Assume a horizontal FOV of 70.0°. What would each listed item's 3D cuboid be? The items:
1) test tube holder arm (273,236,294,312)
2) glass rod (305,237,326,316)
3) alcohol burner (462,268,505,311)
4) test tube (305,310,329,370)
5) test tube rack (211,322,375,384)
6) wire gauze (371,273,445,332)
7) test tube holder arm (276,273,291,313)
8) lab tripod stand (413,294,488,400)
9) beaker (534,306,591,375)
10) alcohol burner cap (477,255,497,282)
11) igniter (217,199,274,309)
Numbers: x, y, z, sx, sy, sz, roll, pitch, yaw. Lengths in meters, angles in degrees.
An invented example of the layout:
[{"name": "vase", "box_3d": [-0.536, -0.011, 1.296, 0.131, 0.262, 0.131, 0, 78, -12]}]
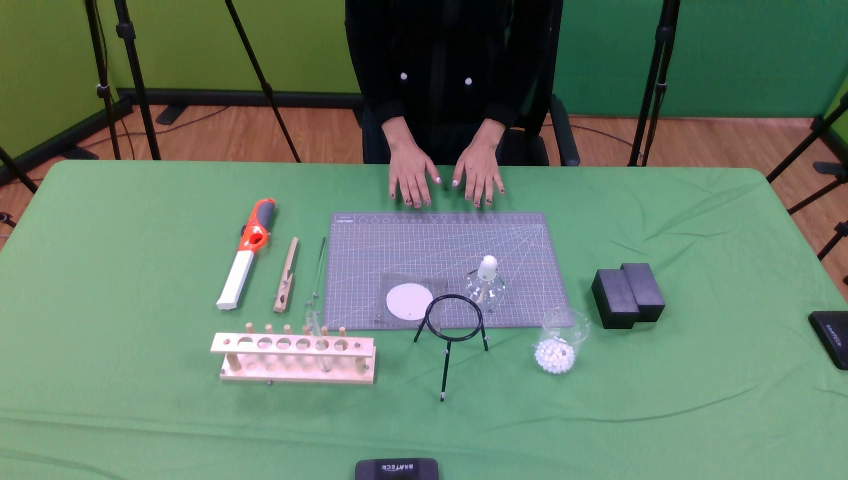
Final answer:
[{"name": "test tube holder arm", "box_3d": [-0.259, 0.059, 1.123, 0.013, 0.015, 0.177, 28, 39, -27]}, {"name": "glass rod", "box_3d": [-0.202, 0.063, 1.131, 0.008, 0.008, 0.198, 4, 44, 0]}, {"name": "alcohol burner", "box_3d": [0.108, 0.071, 1.072, 0.078, 0.119, 0.077, 4, 45, -3]}, {"name": "test tube", "box_3d": [-0.162, 0.156, 0.924, 0.017, 0.151, 0.017, -1, 48, 1]}, {"name": "test tube rack", "box_3d": [-0.202, 0.176, 0.969, 0.242, 0.085, 0.066, 3, 46, -2]}, {"name": "wire gauze", "box_3d": [-0.028, 0.108, 1.100, 0.125, 0.011, 0.121, 7, 45, 4]}, {"name": "test tube holder arm", "box_3d": [-0.254, 0.093, 1.094, 0.010, 0.015, 0.087, 29, 38, -26]}, {"name": "lab tripod stand", "box_3d": [0.044, 0.159, 0.972, 0.148, 0.132, 0.147, 3, 44, -2]}, {"name": "beaker", "box_3d": [0.226, 0.168, 1.002, 0.084, 0.101, 0.073, -5, 47, -10]}, {"name": "alcohol burner cap", "box_3d": [0.110, 0.047, 1.046, 0.034, 0.048, 0.033, 2, 52, -2]}, {"name": "igniter", "box_3d": [-0.336, 0.017, 1.153, 0.057, 0.025, 0.275, -2, 45, 8]}]
